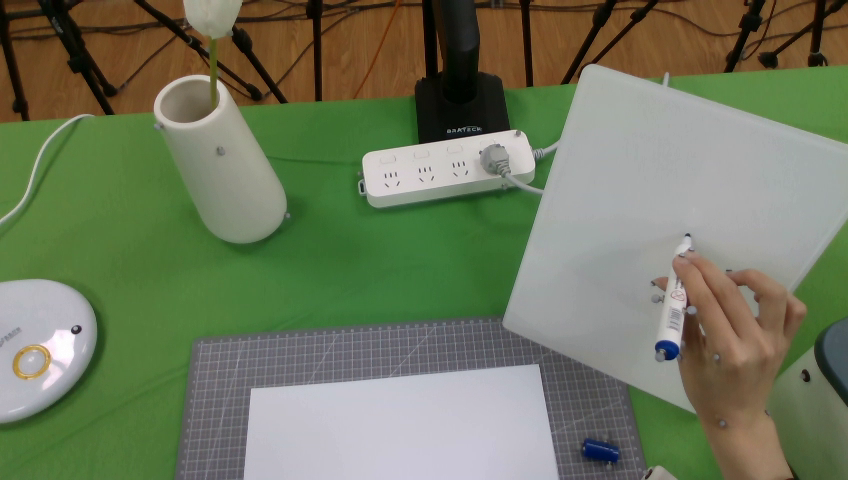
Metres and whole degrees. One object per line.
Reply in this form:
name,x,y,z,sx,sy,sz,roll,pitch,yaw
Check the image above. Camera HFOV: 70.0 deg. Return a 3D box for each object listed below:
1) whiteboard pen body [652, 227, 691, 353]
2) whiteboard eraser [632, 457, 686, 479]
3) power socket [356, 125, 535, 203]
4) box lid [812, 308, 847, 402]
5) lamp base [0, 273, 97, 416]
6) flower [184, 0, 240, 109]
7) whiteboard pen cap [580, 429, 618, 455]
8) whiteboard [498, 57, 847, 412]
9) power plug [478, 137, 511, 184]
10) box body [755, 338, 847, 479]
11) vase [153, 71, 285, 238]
whiteboard pen body,0.186,0.030,0.449,0.017,0.017,0.140,21,44,14
whiteboard eraser,0.192,0.252,0.533,0.055,0.042,0.112,37,68,21
power socket,0.027,-0.094,0.747,0.227,0.033,0.071,-9,61,-4
box lid,0.486,0.170,0.419,0.263,0.015,0.367,-21,62,-9
lamp base,-0.445,0.064,0.583,0.178,0.182,0.160,25,63,18
flower,-0.200,-0.121,0.577,0.038,0.363,0.044,44,60,5
whiteboard pen cap,0.168,0.195,0.582,0.033,0.018,0.018,13,61,6
whiteboard,0.226,-0.019,0.576,0.216,0.308,0.143,24,42,15
power plug,0.082,-0.088,0.716,0.035,0.053,0.072,0,66,2
box body,0.489,0.210,0.483,0.254,0.162,0.360,-21,61,-10
vase,-0.218,-0.085,0.652,0.098,0.202,0.097,-1,59,3
